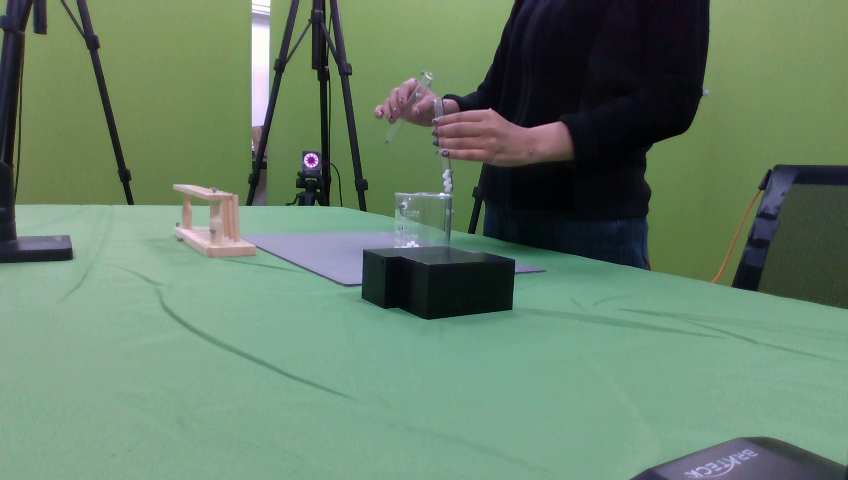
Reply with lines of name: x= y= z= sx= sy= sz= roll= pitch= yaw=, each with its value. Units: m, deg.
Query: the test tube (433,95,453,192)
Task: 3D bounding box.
test tube: x=0.029 y=-0.146 z=0.911 sx=0.017 sy=0.150 sz=0.017 roll=-6 pitch=-7 yaw=0

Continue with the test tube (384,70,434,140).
test tube: x=-0.027 y=-0.218 z=0.992 sx=0.017 sy=0.017 sz=0.150 roll=-4 pitch=-34 yaw=-40

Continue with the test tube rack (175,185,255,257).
test tube rack: x=-0.324 y=-0.035 z=0.922 sx=0.067 sy=0.085 sz=0.241 roll=-2 pitch=9 yaw=-31

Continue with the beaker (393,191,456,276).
beaker: x=-0.003 y=-0.010 z=0.749 sx=0.074 sy=0.100 sz=0.083 roll=-3 pitch=9 yaw=-40
